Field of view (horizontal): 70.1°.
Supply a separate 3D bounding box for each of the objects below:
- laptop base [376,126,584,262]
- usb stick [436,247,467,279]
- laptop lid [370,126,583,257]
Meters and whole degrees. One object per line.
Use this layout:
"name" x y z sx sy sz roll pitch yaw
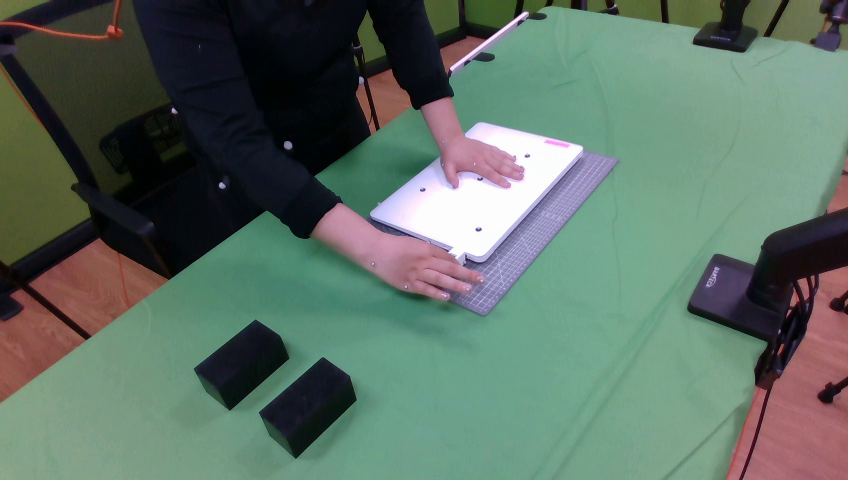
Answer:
"laptop base" 0.102 -0.096 1.071 0.233 0.023 0.355 19 46 33
"usb stick" 0.046 0.031 0.910 0.021 0.027 0.059 29 51 33
"laptop lid" 0.099 -0.103 1.066 0.239 0.013 0.358 21 47 34
